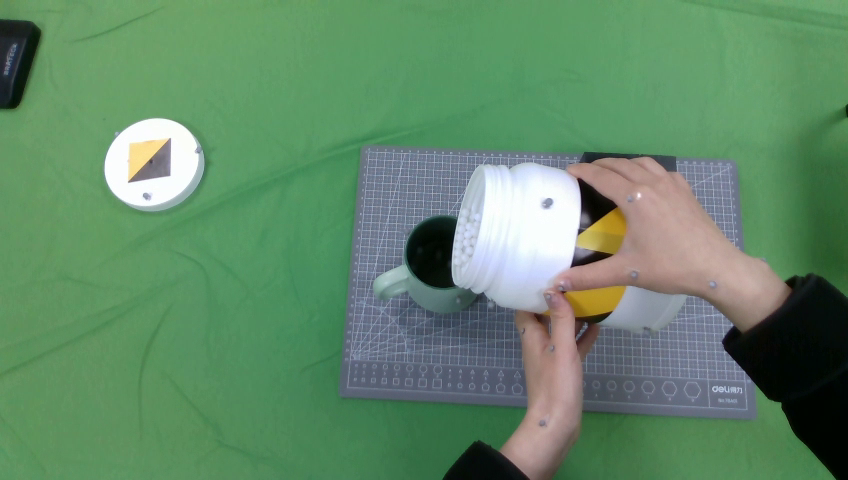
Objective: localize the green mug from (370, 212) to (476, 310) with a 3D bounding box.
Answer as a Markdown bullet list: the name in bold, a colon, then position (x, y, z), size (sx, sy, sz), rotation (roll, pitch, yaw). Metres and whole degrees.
- **green mug**: position (0.003, 0.029, 0.642), size (0.125, 0.105, 0.092), rotation (-22, 76, -5)

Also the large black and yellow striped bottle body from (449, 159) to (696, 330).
- **large black and yellow striped bottle body**: position (0.124, 0.002, 0.538), size (0.184, 0.131, 0.130), rotation (11, 75, -9)

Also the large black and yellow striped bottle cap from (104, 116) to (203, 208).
- **large black and yellow striped bottle cap**: position (-0.326, -0.095, 0.730), size (0.115, 0.019, 0.114), rotation (0, 74, 1)
